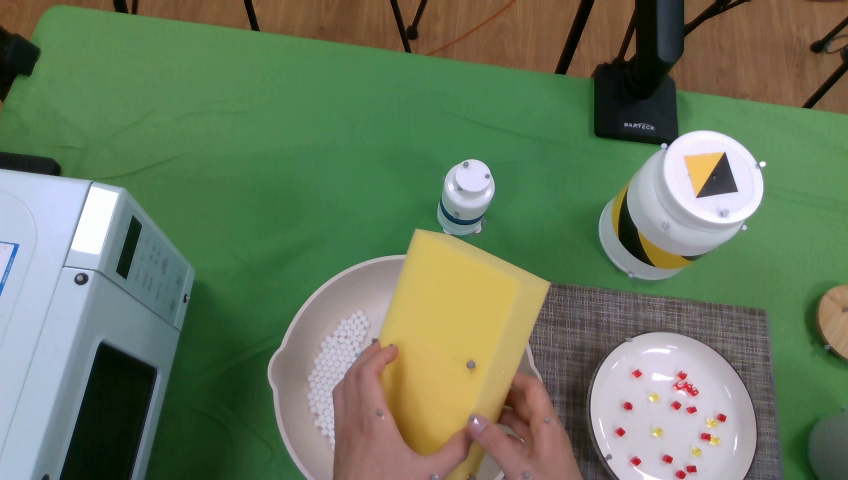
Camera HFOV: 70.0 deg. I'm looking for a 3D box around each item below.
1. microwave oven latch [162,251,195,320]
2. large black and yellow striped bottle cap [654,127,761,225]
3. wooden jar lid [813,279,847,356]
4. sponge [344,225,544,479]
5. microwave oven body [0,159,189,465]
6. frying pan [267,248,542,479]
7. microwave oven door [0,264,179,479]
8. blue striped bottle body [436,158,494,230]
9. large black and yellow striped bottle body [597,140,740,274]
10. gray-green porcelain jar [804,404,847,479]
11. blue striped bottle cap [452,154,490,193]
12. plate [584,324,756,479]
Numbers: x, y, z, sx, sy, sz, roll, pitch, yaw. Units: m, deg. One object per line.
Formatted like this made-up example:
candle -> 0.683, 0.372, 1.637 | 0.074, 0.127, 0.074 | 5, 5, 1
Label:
microwave oven latch -> -0.293, 0.052, 0.713 | 0.030, 0.029, 0.078 | 10, 71, -2
large black and yellow striped bottle cap -> 0.313, -0.072, 0.669 | 0.115, 0.019, 0.114 | 2, 69, -4
wooden jar lid -> 0.571, 0.106, 0.811 | 0.108, 0.021, 0.107 | 2, 72, -4
sponge -> 0.014, 0.103, 0.555 | 0.117, 0.061, 0.207 | 24, 100, 33
microwave oven body -> -0.451, 0.165, 0.556 | 0.326, 0.261, 0.439 | 8, 71, -3
frying pan -> -0.030, 0.247, 0.654 | 0.307, 0.103, 0.484 | 6, 62, -1
microwave oven door -> -0.312, 0.222, 0.544 | 0.039, 0.245, 0.353 | 7, 70, -3
blue striped bottle body -> 0.051, -0.062, 0.763 | 0.063, 0.121, 0.062 | 2, 71, -5
large black and yellow striped bottle body -> 0.306, -0.043, 0.750 | 0.131, 0.185, 0.130 | 2, 70, -5
gray-green porcelain jar -> 0.522, 0.242, 0.702 | 0.106, 0.127, 0.105 | 2, 70, -5
blue striped bottle cap -> 0.055, -0.079, 0.715 | 0.044, 0.021, 0.044 | 2, 67, -4
plate -> 0.293, 0.207, 0.734 | 0.209, 0.038, 0.207 | 2, 71, -4
